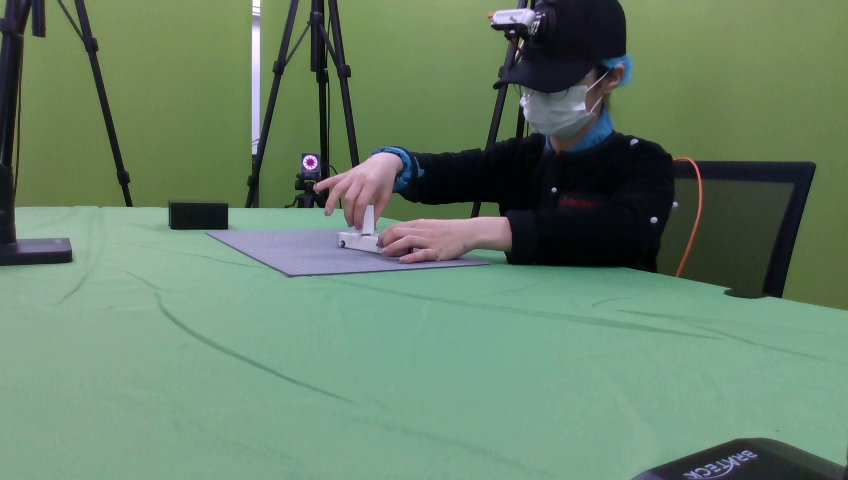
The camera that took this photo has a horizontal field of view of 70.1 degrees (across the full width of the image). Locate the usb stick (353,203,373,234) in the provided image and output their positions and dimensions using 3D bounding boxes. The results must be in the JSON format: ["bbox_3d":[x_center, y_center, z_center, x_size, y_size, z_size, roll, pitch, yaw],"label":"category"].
[{"bbox_3d":[-0.094,-0.028,0.936,0.021,0.059,0.027,5,11,37],"label":"usb stick"}]

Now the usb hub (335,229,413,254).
[{"bbox_3d":[-0.080,0.001,0.946,0.124,0.025,0.050,8,10,39],"label":"usb hub"}]
